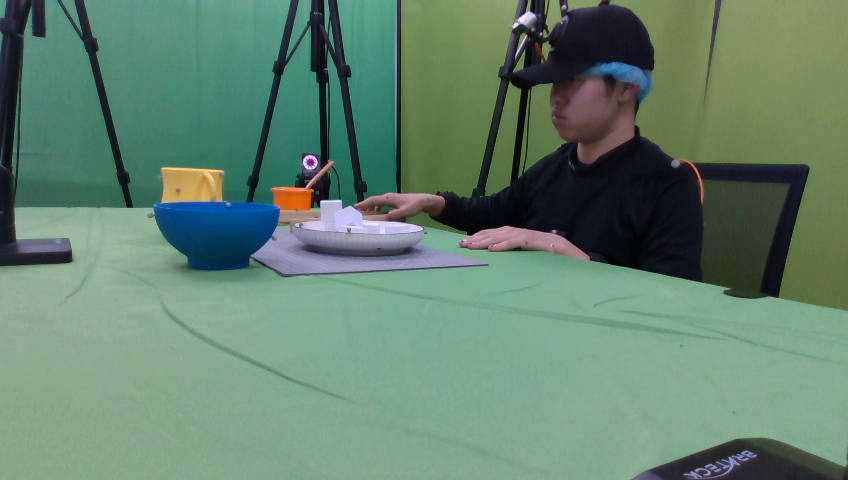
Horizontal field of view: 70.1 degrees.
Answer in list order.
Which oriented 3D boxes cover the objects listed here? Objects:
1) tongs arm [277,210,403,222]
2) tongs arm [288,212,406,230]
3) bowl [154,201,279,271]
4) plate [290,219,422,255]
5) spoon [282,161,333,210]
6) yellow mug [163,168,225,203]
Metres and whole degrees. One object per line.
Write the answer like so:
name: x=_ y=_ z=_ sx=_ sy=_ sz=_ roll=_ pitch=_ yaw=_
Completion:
tongs arm: x=-0.206 y=-0.052 z=1.332 sx=0.387 sy=0.026 sz=0.050 roll=-2 pitch=7 yaw=-44
tongs arm: x=-0.145 y=-0.041 z=1.280 sx=0.028 sy=0.028 sz=0.389 roll=2 pitch=4 yaw=33
bowl: x=-0.263 y=-0.005 z=0.773 sx=0.151 sy=0.077 sz=0.151 roll=3 pitch=8 yaw=0
plate: x=-0.108 y=-0.005 z=0.963 sx=0.208 sy=0.039 sz=0.207 roll=3 pitch=7 yaw=0
spoon: x=-0.262 y=-0.115 z=1.359 sx=0.041 sy=0.194 sz=0.022 roll=12 pitch=-33 yaw=38
yellow mug: x=-0.383 y=-0.087 z=1.026 sx=0.130 sy=0.064 sz=0.100 roll=11 pitch=11 yaw=44
